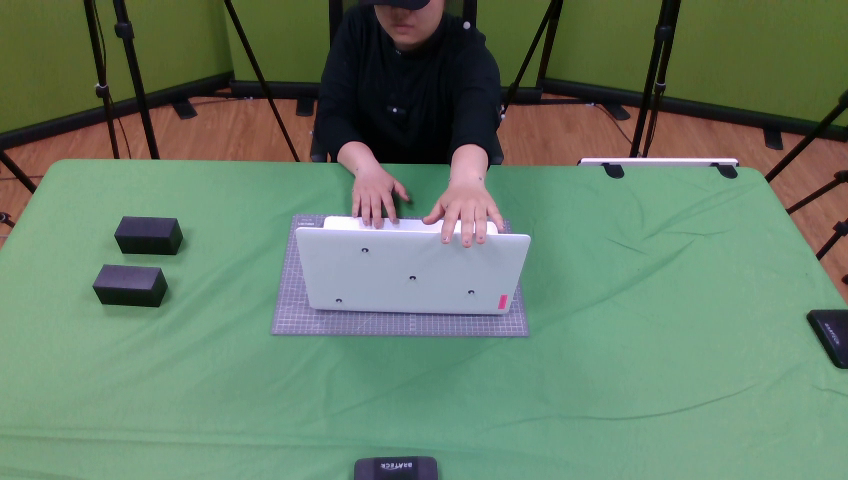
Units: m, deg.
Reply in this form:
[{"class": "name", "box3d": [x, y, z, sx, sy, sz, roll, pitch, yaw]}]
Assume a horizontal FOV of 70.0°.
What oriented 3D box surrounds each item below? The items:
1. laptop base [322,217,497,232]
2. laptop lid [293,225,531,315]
[{"class": "laptop base", "box3d": [-0.028, 0.045, 1.154, 0.354, 0.023, 0.234, 2, 43, -3]}, {"class": "laptop lid", "box3d": [-0.021, 0.057, 0.976, 0.357, 0.243, 0.013, 3, 52, -3]}]
